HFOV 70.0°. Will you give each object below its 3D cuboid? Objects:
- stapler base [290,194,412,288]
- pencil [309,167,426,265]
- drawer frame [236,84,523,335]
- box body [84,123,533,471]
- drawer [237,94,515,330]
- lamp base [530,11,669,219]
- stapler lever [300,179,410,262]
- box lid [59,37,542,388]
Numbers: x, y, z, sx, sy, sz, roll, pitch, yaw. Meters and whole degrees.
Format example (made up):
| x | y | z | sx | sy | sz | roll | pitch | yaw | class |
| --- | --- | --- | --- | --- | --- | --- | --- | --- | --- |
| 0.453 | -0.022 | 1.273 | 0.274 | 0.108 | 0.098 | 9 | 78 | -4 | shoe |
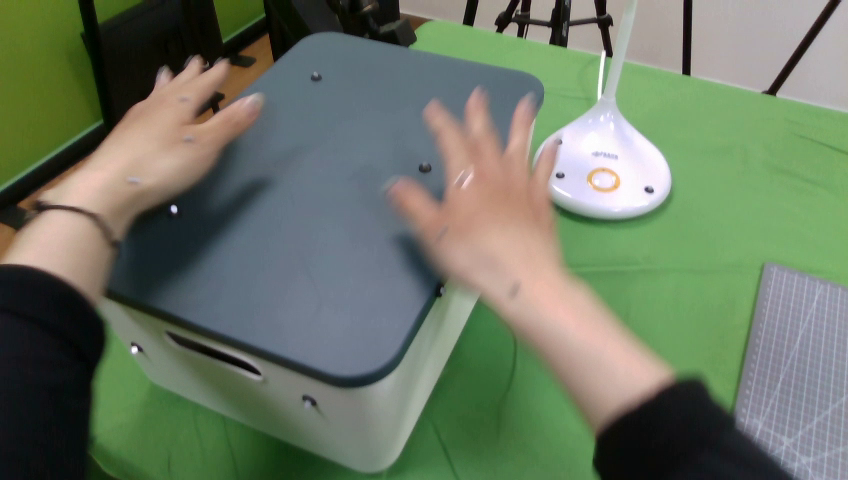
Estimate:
| x | y | z | sx | sy | sz | roll | pitch | yaw | class |
| --- | --- | --- | --- | --- | --- | --- | --- | --- | --- |
| -0.066 | -0.006 | 0.561 | 0.129 | 0.024 | 0.041 | 36 | 42 | 20 | stapler base |
| -0.059 | -0.026 | 0.586 | 0.012 | 0.012 | 0.192 | -30 | 48 | -26 | pencil |
| -0.034 | -0.043 | 0.583 | 0.201 | 0.083 | 0.212 | 25 | 43 | 8 | drawer frame |
| -0.072 | -0.010 | 0.553 | 0.253 | 0.162 | 0.362 | 17 | 48 | 16 | box body |
| -0.036 | -0.040 | 0.581 | 0.194 | 0.074 | 0.211 | 26 | 41 | 8 | drawer |
| 0.205 | -0.145 | 0.672 | 0.160 | 0.182 | 0.177 | 2 | 42 | 3 | lamp base |
| -0.062 | -0.024 | 0.546 | 0.117 | 0.040 | 0.027 | 37 | 43 | 20 | stapler lever |
| -0.073 | -0.061 | 0.498 | 0.262 | 0.015 | 0.369 | 17 | 48 | 17 | box lid |
